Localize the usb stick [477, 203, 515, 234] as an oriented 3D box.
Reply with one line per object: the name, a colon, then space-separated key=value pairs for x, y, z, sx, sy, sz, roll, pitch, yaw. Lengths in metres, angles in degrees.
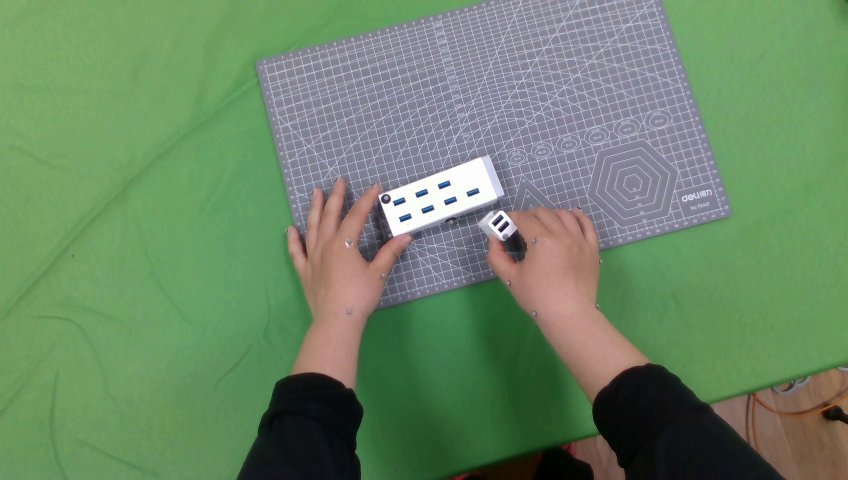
usb stick: x=0.071 y=-0.022 z=0.613 sx=0.027 sy=0.059 sz=0.021 roll=43 pitch=89 yaw=-5

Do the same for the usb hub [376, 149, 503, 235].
usb hub: x=0.016 y=-0.051 z=0.636 sx=0.125 sy=0.025 sz=0.049 roll=-21 pitch=83 yaw=-1
